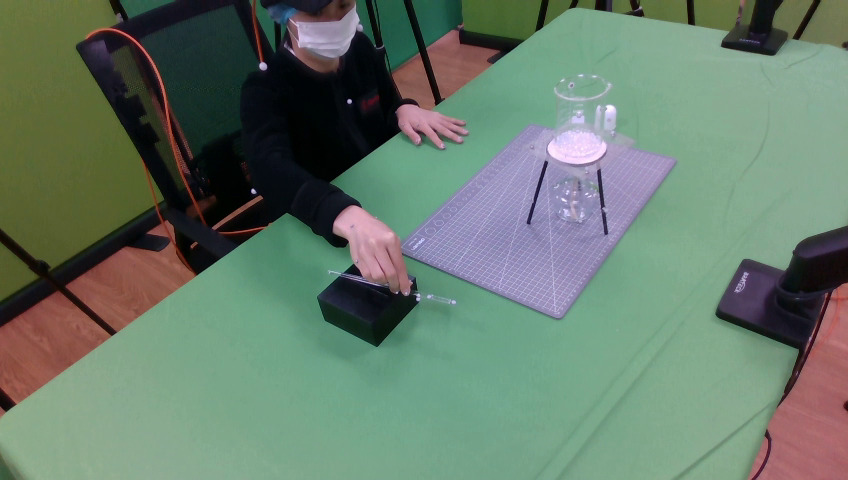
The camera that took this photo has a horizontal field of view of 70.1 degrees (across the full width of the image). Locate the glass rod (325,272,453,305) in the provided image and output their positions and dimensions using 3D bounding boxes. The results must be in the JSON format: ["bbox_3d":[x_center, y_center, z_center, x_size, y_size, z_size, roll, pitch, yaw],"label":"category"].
[{"bbox_3d":[-0.053,0.066,0.839,0.198,0.008,0.008,11,43,21],"label":"glass rod"}]

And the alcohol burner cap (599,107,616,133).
[{"bbox_3d":[0.361,-0.238,1.188,0.034,0.048,0.033,-4,40,4],"label":"alcohol burner cap"}]

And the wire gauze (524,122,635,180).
[{"bbox_3d":[0.233,-0.142,0.913,0.122,0.011,0.124,-31,42,-26],"label":"wire gauze"}]

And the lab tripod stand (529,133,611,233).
[{"bbox_3d":[0.236,-0.089,0.953,0.148,0.132,0.147,-5,42,5],"label":"lab tripod stand"}]

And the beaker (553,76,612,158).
[{"bbox_3d":[0.230,-0.178,0.882,0.084,0.101,0.073,-9,41,1],"label":"beaker"}]

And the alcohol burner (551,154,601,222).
[{"bbox_3d":[0.244,-0.087,0.966,0.078,0.119,0.077,-3,41,3],"label":"alcohol burner"}]
